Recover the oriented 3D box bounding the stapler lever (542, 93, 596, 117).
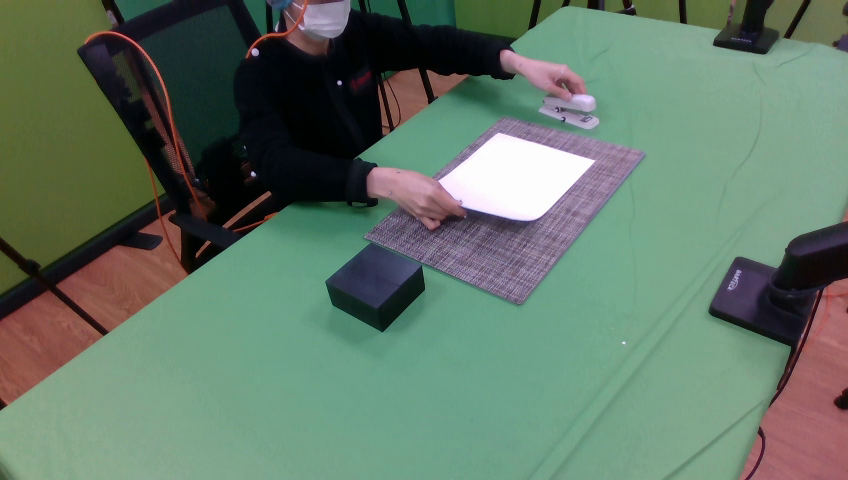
[{"bbox_3d":[0.292,-0.280,1.218,0.027,0.040,0.117,-34,46,-29],"label":"stapler lever"}]

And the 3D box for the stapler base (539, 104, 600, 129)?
[{"bbox_3d":[0.297,-0.261,1.233,0.041,0.024,0.129,-34,45,-29],"label":"stapler base"}]
